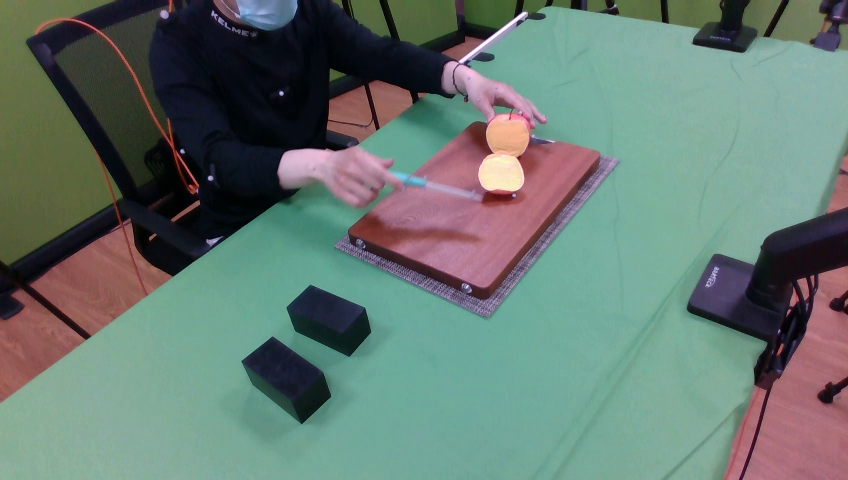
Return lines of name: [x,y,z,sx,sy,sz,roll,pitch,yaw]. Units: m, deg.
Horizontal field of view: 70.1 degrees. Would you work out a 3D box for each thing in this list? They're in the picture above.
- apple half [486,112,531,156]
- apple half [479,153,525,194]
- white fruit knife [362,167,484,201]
apple half: [0.155,-0.194,1.086,0.080,0.075,0.053,3,31,21]
apple half: [0.130,-0.108,1.016,0.081,0.033,0.081,0,66,1]
white fruit knife: [-0.005,-0.087,0.953,0.207,0.027,0.016,14,76,13]
